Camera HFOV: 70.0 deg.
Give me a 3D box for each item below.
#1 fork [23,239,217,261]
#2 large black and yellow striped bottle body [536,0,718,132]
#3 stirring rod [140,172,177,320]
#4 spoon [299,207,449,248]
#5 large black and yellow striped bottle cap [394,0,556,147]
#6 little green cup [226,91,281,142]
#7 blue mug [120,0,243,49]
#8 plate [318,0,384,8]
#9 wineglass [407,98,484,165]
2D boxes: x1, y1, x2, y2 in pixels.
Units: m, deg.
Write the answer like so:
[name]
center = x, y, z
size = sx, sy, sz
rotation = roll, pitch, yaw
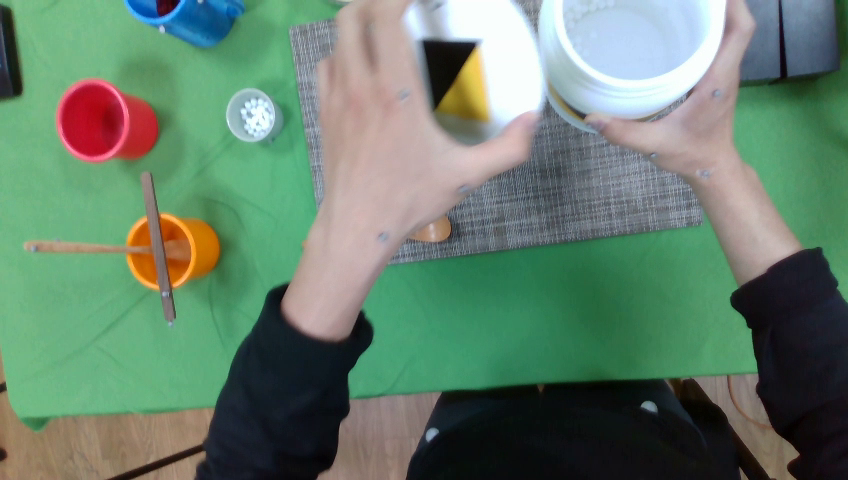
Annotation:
[fork]
center = -0.355, 0.010, 0.724
size = 0.209, 0.018, 0.028
rotation = 2, 103, -35
[large black and yellow striped bottle body]
center = 0.154, -0.162, 0.487
size = 0.130, 0.184, 0.131
rotation = 1, 95, 11
[stirring rod]
center = -0.313, 0.008, 0.715
size = 0.014, 0.006, 0.176
rotation = -8, 93, 10
[spoon]
center = -0.064, -0.009, 0.737
size = 0.193, 0.021, 0.042
rotation = -9, 114, 10
[large black and yellow striped bottle cap]
center = 0.028, -0.112, 0.373
size = 0.115, 0.115, 0.019
rotation = 48, 59, 3
[little green cup]
center = -0.207, -0.149, 0.743
size = 0.061, 0.038, 0.061
rotation = 1, 95, 10
[blue mug]
center = -0.272, -0.276, 0.709
size = 0.116, 0.106, 0.082
rotation = 6, 95, 8
[plate]
center = -0.081, -0.375, 0.705
size = 0.209, 0.038, 0.209
rotation = 1, 95, 9
[wineglass]
center = 0.029, -0.116, 0.637
size = 0.073, 0.172, 0.074
rotation = 1, 94, 9
